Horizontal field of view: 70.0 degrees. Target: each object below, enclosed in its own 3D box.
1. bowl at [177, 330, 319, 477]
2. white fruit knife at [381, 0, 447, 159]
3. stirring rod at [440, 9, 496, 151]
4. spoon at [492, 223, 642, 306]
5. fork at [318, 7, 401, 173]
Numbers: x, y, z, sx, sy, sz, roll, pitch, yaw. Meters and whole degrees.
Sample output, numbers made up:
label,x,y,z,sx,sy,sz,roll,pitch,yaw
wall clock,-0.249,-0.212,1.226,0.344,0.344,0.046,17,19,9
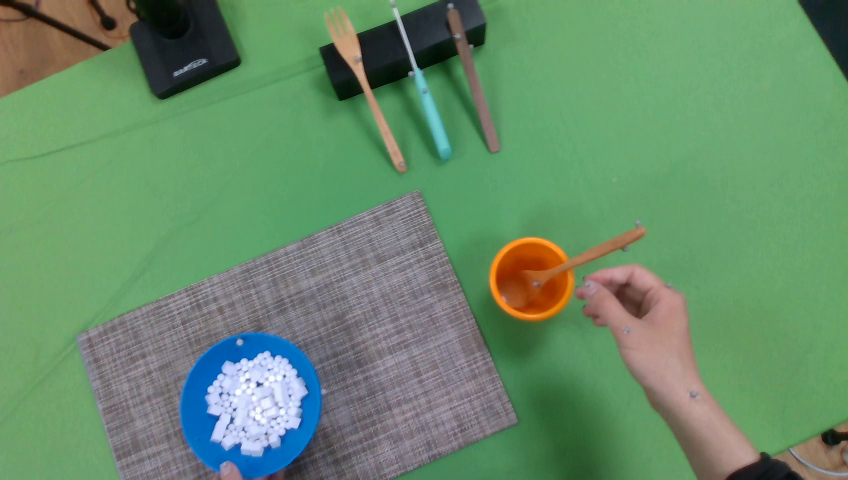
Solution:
label,x,y,z,sx,sy,sz,roll,pitch,yaw
bowl,-0.183,0.178,0.673,0.151,0.077,0.151,0,80,3
white fruit knife,-0.015,-0.197,0.731,0.016,0.027,0.208,-22,96,-4
stirring rod,0.054,-0.193,0.738,0.014,0.006,0.176,-21,99,-3
spoon,0.149,0.028,0.654,0.022,0.193,0.041,-13,76,-45
fork,-0.074,-0.177,0.731,0.028,0.018,0.208,-26,100,-5
